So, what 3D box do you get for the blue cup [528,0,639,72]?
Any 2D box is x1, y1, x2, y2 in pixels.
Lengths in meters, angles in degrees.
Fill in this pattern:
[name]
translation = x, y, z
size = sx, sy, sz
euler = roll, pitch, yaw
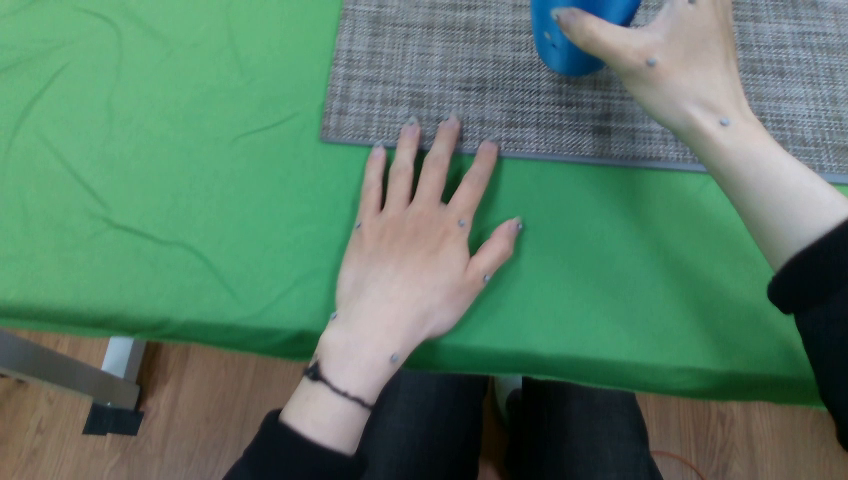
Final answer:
[blue cup]
translation = 0.111, -0.173, 0.427
size = 0.092, 0.101, 0.092
euler = -2, 69, 5
